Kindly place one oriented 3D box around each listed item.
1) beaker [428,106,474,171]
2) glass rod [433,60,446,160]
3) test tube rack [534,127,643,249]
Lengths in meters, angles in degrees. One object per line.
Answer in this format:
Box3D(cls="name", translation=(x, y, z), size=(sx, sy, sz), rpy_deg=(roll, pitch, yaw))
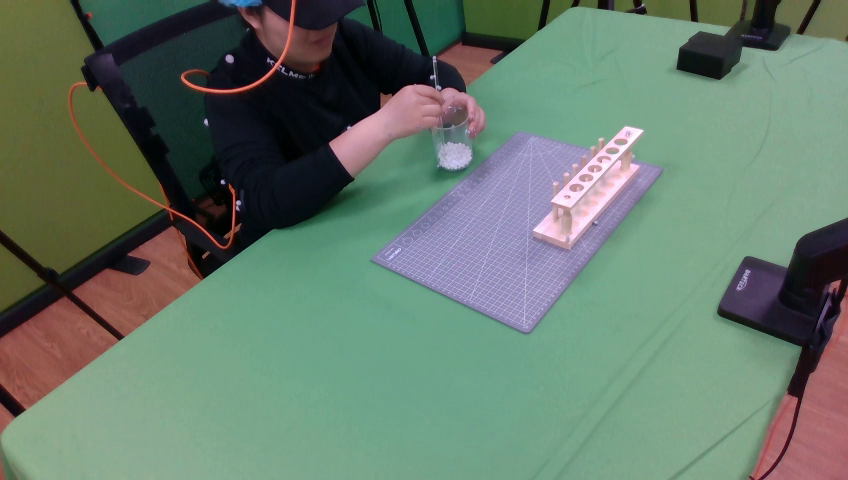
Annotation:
Box3D(cls="beaker", translation=(0.053, -0.187, 1.119), size=(0.073, 0.101, 0.084), rpy_deg=(6, 46, 18))
Box3D(cls="glass rod", translation=(0.027, -0.228, 1.087), size=(0.008, 0.200, 0.008), rpy_deg=(-4, 40, 4))
Box3D(cls="test tube rack", translation=(0.271, -0.094, 0.990), size=(0.066, 0.085, 0.243), rpy_deg=(23, 50, 34))
